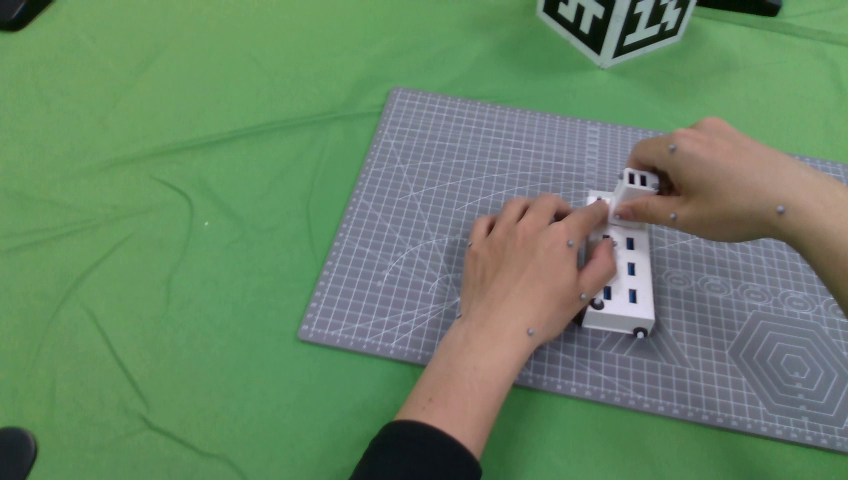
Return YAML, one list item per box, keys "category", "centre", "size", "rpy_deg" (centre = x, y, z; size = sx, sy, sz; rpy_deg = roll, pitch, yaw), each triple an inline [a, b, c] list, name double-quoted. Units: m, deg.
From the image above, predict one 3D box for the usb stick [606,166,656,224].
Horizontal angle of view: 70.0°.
- category: "usb stick"
  centre: [0.160, -0.032, 0.475]
  size: [0.027, 0.059, 0.021]
  rpy_deg: [6, 59, 5]

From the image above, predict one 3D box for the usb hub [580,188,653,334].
- category: "usb hub"
  centre: [0.150, 0.013, 0.480]
  size: [0.049, 0.025, 0.124]
  rpy_deg: [7, 51, 8]
